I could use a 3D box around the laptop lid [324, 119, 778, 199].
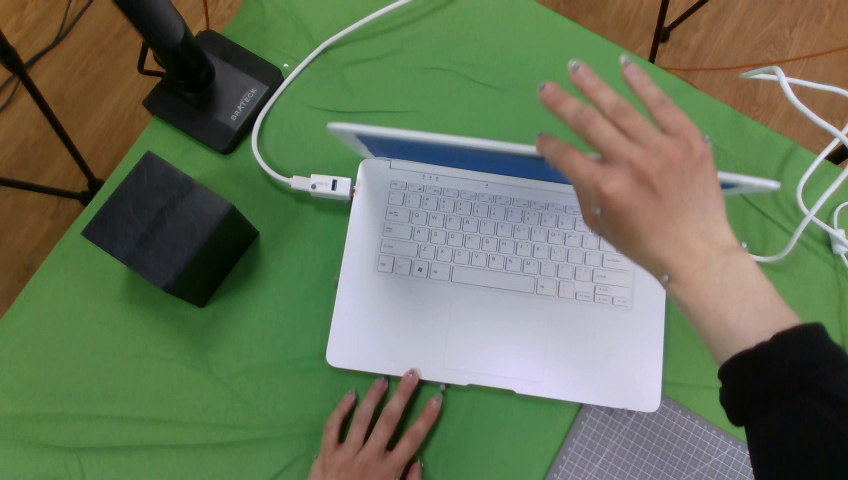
[{"bbox_3d":[0.098,-0.070,0.568,0.357,0.241,0.013,8,92,1],"label":"laptop lid"}]

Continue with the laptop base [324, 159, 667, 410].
[{"bbox_3d":[0.083,0.043,0.663,0.354,0.023,0.234,8,78,0],"label":"laptop base"}]

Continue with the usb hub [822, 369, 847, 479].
[{"bbox_3d":[0.451,0.202,0.633,0.049,0.025,0.124,15,76,3],"label":"usb hub"}]

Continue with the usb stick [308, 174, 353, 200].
[{"bbox_3d":[-0.097,-0.057,0.667,0.059,0.027,0.021,7,81,-7],"label":"usb stick"}]
